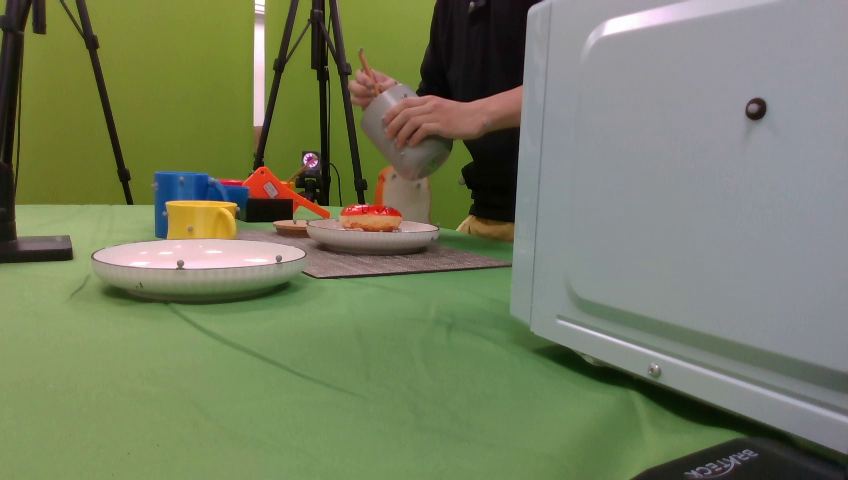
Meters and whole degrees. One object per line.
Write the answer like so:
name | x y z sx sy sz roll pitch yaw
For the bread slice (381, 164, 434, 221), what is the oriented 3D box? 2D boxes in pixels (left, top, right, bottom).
bread slice | -0.035 -0.076 1.124 0.107 0.134 0.018 -4 1 -25

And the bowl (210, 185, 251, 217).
bowl | -0.408 -0.064 1.155 0.151 0.077 0.151 2 8 0

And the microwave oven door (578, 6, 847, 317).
microwave oven door | 0.294 -0.067 0.570 0.358 0.243 0.039 -3 9 -31

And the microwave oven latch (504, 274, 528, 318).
microwave oven latch | 0.100 0.041 0.471 0.079 0.029 0.030 -1 8 -28

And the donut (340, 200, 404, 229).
donut | -0.081 -0.038 0.944 0.099 0.048 0.099 1 4 0

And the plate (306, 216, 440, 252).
plate | -0.079 -0.011 0.950 0.209 0.038 0.209 2 8 0

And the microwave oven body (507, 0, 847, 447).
microwave oven body | 0.331 -0.042 0.425 0.444 0.260 0.324 -2 8 -31

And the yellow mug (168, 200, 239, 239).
yellow mug | -0.320 -0.023 0.904 0.130 0.064 0.100 9 11 36

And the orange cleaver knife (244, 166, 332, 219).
orange cleaver knife | -0.301 -0.089 1.351 0.212 0.077 0.012 32 -11 -34

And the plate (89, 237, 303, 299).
plate | -0.233 0.029 0.637 0.208 0.039 0.207 2 7 0

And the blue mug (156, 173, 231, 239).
blue mug | -0.381 -0.057 1.004 0.117 0.106 0.082 0 8 -12

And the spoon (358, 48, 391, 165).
spoon | -0.079 -0.212 0.966 0.021 0.193 0.041 -10 -3 1

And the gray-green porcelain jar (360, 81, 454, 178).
gray-green porcelain jar | -0.023 -0.171 0.965 0.126 0.105 0.106 50 24 13

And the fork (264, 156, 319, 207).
fork | -0.331 -0.144 1.506 0.207 0.018 0.028 -42 -20 22

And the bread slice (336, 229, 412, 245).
bread slice | -0.074 -0.005 0.938 0.105 0.019 0.131 -2 4 -19

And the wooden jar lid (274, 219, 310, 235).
wooden jar lid | -0.213 -0.023 1.081 0.108 0.020 0.108 3 7 0
